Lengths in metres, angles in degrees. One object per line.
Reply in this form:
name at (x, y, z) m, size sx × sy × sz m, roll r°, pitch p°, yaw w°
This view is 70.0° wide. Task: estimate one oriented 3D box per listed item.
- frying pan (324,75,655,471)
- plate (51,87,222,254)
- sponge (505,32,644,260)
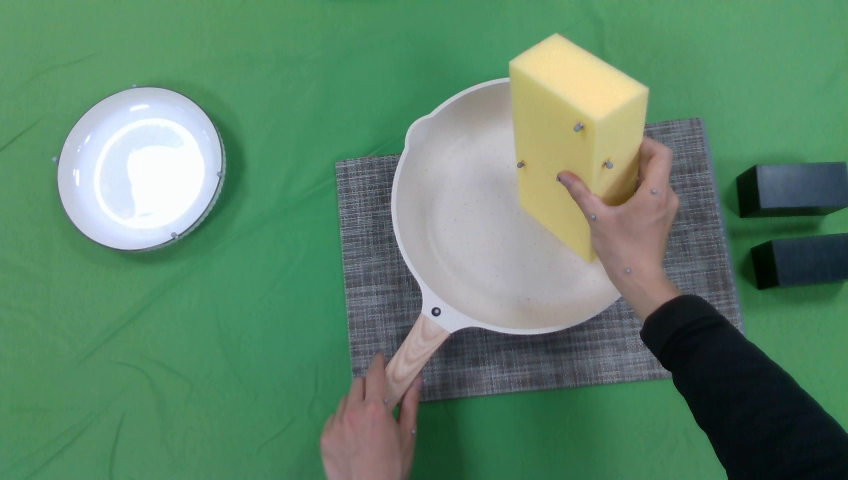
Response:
frying pan at (0.046, 0.039, 0.669) m, size 0.306 × 0.103 × 0.487 m, roll 36°, pitch 76°, yaw 9°
plate at (-0.348, -0.083, 0.748) m, size 0.207 × 0.039 × 0.207 m, roll 0°, pitch 80°, yaw 3°
sponge at (0.149, -0.088, 0.620) m, size 0.061 × 0.209 × 0.117 m, roll -34°, pitch 53°, yaw -14°
